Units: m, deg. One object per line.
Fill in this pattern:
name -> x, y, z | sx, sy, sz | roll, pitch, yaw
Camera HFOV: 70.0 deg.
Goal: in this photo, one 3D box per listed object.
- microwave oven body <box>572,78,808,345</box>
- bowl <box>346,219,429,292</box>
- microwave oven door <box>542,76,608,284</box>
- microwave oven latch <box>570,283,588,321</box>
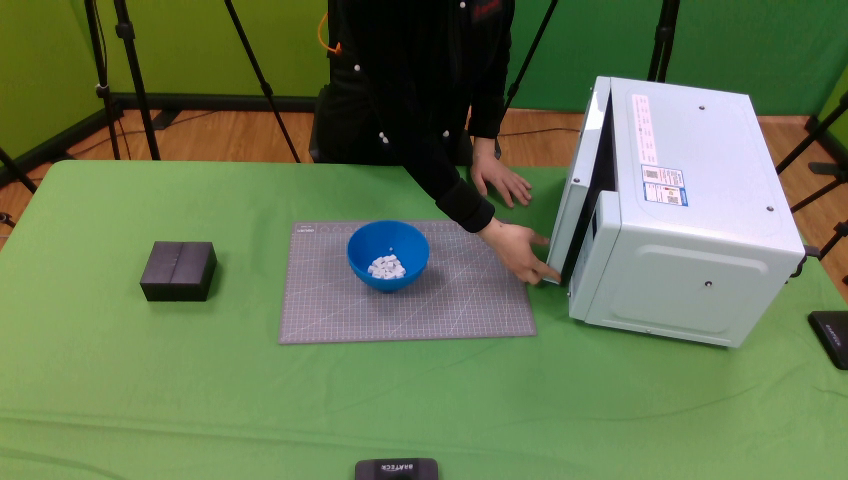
microwave oven body -> 0.456, -0.063, 1.124 | 0.326, 0.261, 0.439 | 8, 45, 5
bowl -> -0.068, 0.041, 1.111 | 0.151, 0.077, 0.150 | 3, 46, -2
microwave oven door -> 0.295, -0.124, 1.164 | 0.039, 0.245, 0.354 | 15, 47, 10
microwave oven latch -> 0.276, 0.105, 1.082 | 0.030, 0.029, 0.079 | 10, 45, 7
